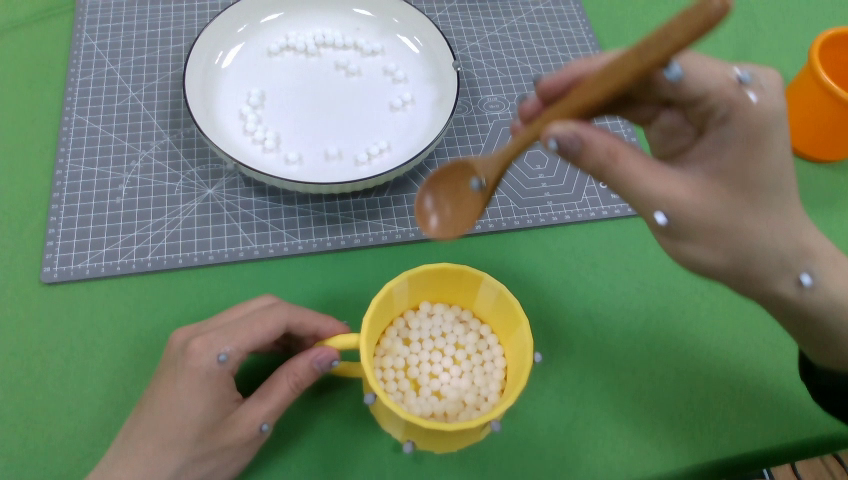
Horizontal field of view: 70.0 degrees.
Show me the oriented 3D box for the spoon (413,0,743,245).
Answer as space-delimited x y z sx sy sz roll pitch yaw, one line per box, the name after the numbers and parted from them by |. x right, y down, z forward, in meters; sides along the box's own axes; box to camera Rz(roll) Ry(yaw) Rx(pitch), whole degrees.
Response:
0.049 -0.041 0.267 0.022 0.193 0.041 -3 73 -31 | spoon

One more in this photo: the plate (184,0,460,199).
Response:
-0.076 -0.116 0.476 0.208 0.039 0.206 2 61 -4 | plate

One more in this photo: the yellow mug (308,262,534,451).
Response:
-0.004 0.072 0.367 0.131 0.064 0.099 1 61 -4 | yellow mug
